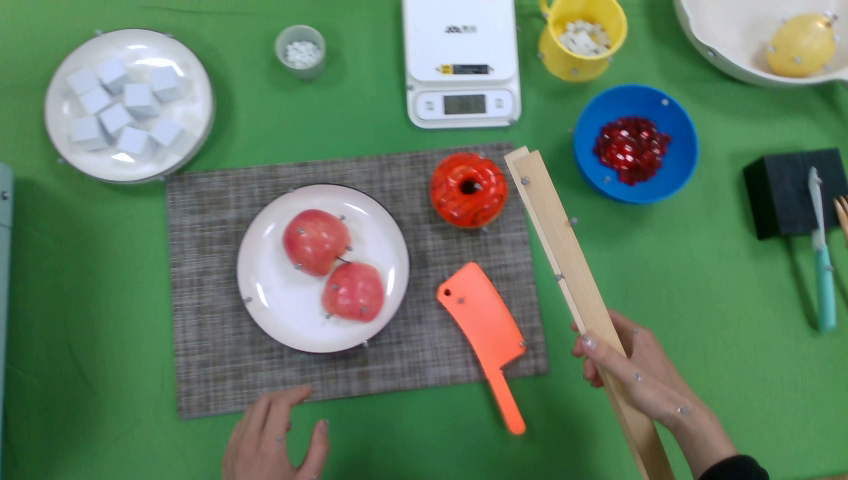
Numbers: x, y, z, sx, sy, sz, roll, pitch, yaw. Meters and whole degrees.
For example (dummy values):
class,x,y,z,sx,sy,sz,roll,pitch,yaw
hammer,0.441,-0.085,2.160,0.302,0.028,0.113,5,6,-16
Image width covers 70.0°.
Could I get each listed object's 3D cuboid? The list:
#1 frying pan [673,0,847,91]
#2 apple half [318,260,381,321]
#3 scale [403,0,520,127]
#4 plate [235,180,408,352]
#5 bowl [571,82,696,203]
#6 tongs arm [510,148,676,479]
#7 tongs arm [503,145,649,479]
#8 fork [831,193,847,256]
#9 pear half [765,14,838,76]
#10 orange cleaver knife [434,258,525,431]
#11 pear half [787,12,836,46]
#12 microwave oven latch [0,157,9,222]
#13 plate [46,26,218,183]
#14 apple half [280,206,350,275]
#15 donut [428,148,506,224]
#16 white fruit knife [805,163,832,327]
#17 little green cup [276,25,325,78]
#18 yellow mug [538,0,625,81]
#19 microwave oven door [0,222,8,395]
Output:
class,x,y,z,sx,sy,sz,roll,pitch,yaw
frying pan,0.526,-0.255,0.789,0.307,0.103,0.484,-33,74,-7
apple half,-0.091,0.058,0.730,0.081,0.033,0.081,0,81,1
scale,0.049,-0.251,0.807,0.149,0.031,0.200,-2,80,-2
plate,-0.123,0.031,0.740,0.209,0.038,0.208,0,79,-2
bowl,0.252,-0.113,0.765,0.151,0.077,0.151,0,80,-2
tongs arm,0.170,0.091,0.590,0.026,0.050,0.386,-25,100,4
tongs arm,0.170,0.083,0.626,0.028,0.028,0.389,-25,100,0
fork,0.540,0.042,0.754,0.028,0.018,0.207,-16,96,-7
pear half,0.488,-0.251,0.779,0.076,0.110,0.056,30,80,7
orange cleaver knife,0.083,0.124,0.740,0.077,0.012,0.210,-24,80,-11
pear half,0.508,-0.278,0.795,0.070,0.088,0.031,28,81,7
microwave oven latch,-0.520,-0.062,0.727,0.030,0.029,0.079,-2,80,-3
plate,-0.366,-0.169,0.773,0.208,0.039,0.206,0,79,-2
apple half,-0.134,-0.004,0.731,0.074,0.053,0.081,44,80,9
donut,0.053,-0.068,0.763,0.099,0.048,0.098,0,80,0
white fruit knife,0.486,0.009,0.751,0.016,0.027,0.207,-8,94,-3
little green cup,-0.159,-0.245,0.795,0.061,0.039,0.061,0,79,-2
yellow mug,0.196,-0.282,0.801,0.100,0.064,0.130,-39,82,-8
microwave oven door,-0.504,0.133,0.588,0.039,0.244,0.354,-4,79,-2
